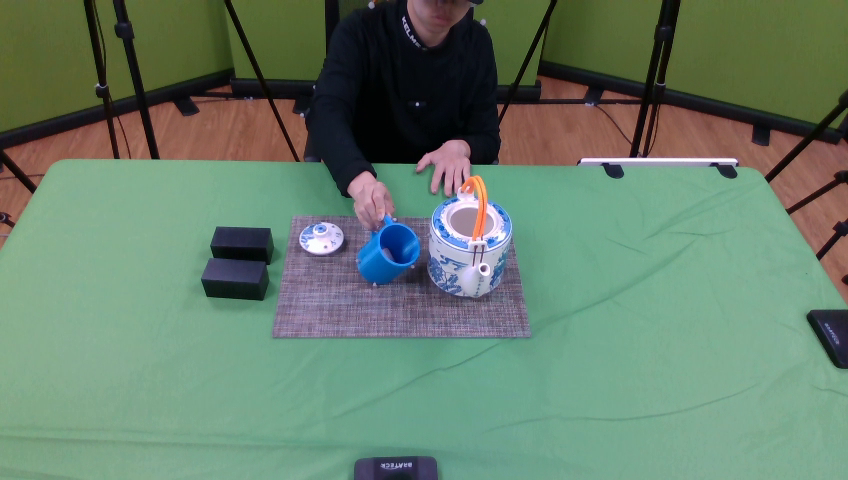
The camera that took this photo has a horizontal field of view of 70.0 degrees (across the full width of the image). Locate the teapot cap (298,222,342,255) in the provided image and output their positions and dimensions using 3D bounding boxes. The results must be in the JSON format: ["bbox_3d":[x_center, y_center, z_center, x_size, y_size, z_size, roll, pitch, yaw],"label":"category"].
[{"bbox_3d":[-0.201,-0.008,1.171,0.085,0.044,0.084,1,47,-1],"label":"teapot cap"}]

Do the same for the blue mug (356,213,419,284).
[{"bbox_3d":[-0.072,0.010,1.094,0.082,0.106,0.116,-8,72,-30],"label":"blue mug"}]

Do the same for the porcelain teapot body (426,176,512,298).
[{"bbox_3d":[0.085,0.009,1.051,0.145,0.226,0.204,-5,47,-9],"label":"porcelain teapot body"}]
